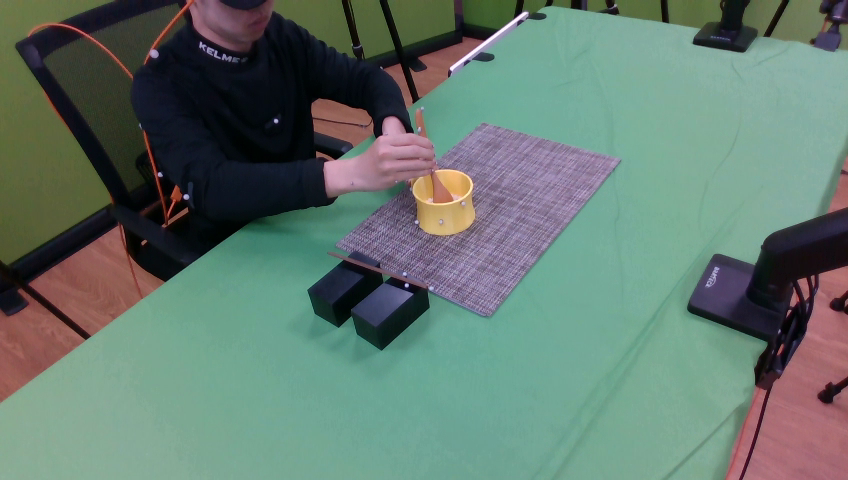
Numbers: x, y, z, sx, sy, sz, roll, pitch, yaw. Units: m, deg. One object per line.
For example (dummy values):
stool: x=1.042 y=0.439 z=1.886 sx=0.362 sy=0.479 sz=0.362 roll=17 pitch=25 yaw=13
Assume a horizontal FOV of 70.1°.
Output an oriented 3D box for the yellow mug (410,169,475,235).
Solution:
yellow mug: x=0.022 y=-0.070 z=1.007 sx=0.129 sy=0.064 sz=0.100 roll=29 pitch=52 yaw=36

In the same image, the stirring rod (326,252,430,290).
stirring rod: x=-0.068 y=0.043 z=0.859 sx=0.175 sy=0.006 sz=0.014 roll=17 pitch=11 yaw=26

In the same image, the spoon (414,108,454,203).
spoon: x=0.012 y=-0.116 z=0.955 sx=0.042 sy=0.194 sz=0.021 roll=-29 pitch=29 yaw=-18
